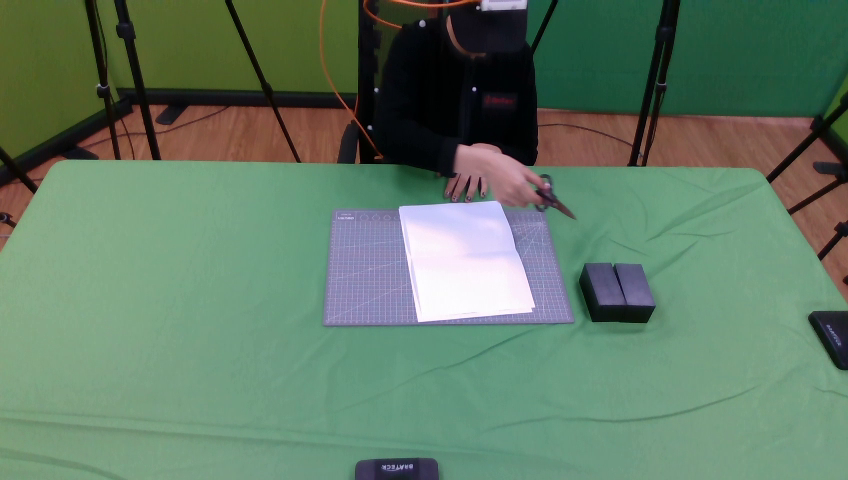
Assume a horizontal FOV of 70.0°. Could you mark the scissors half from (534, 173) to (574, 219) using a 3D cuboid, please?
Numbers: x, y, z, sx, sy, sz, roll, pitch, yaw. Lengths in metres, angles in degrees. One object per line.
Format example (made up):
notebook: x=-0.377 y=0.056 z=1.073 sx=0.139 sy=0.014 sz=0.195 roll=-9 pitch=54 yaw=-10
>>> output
scissors half: x=0.242 y=-0.082 z=1.125 sx=0.013 sy=0.040 sz=0.174 roll=4 pitch=30 yaw=-16

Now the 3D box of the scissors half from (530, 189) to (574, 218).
scissors half: x=0.237 y=-0.063 z=1.132 sx=0.013 sy=0.040 sz=0.174 roll=9 pitch=11 yaw=-17
